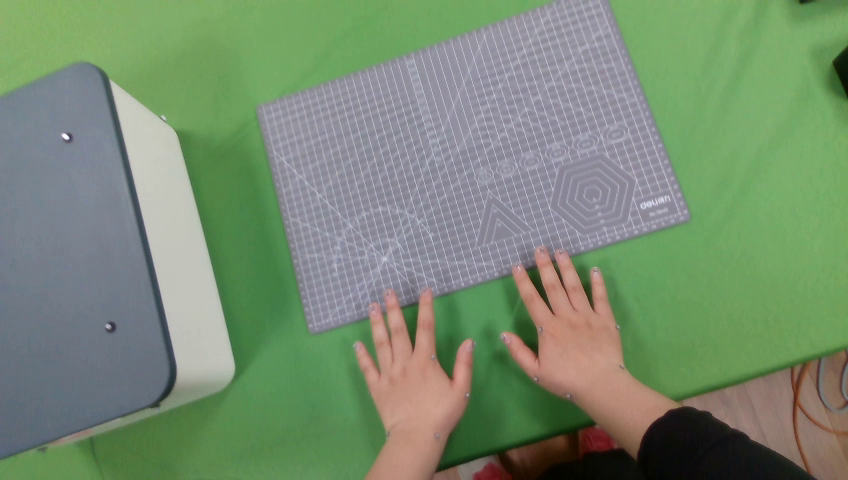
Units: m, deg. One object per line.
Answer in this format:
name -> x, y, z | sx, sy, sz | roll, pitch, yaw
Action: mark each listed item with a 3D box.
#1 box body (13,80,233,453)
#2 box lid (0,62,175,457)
box body -> -0.393, 0.032, 0.684 | 0.254, 0.161, 0.362 | -20, 77, 5
box lid -> -0.406, 0.016, 0.612 | 0.263, 0.015, 0.369 | -20, 78, 5
